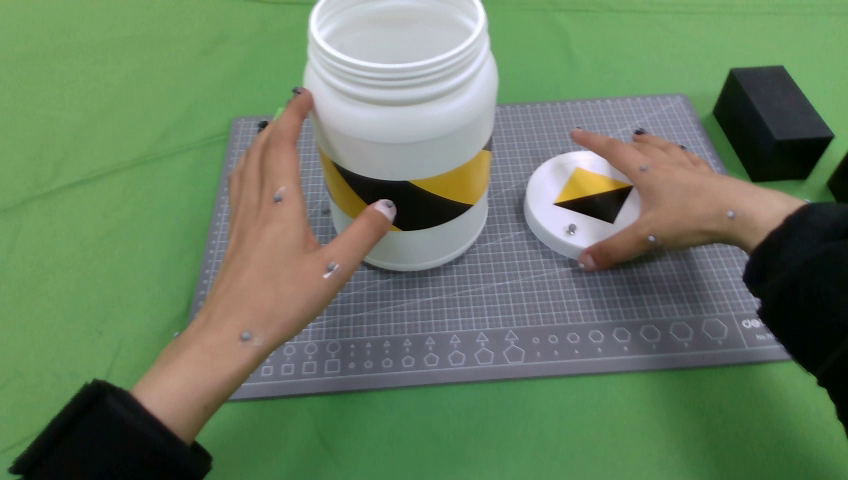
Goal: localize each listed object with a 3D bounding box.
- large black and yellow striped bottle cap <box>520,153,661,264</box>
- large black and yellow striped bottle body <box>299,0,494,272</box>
[{"bbox_3d":[0.138,-0.029,0.506,0.115,0.019,0.114,0,50,1],"label":"large black and yellow striped bottle cap"},{"bbox_3d":[-0.017,-0.079,0.441,0.131,0.185,0.129,-1,51,1],"label":"large black and yellow striped bottle body"}]
